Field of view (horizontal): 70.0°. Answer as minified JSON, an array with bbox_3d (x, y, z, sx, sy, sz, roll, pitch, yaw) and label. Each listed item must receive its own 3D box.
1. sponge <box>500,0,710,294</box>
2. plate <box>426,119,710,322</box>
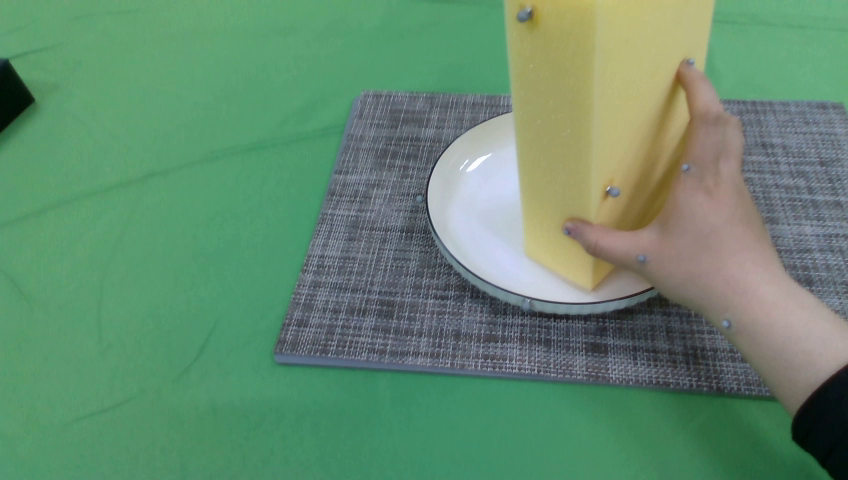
[{"bbox_3d":[0.118,-0.078,0.390,0.118,0.209,0.060,-39,48,-24],"label":"sponge"},{"bbox_3d":[0.106,-0.020,0.468,0.207,0.039,0.205,-2,49,3],"label":"plate"}]
